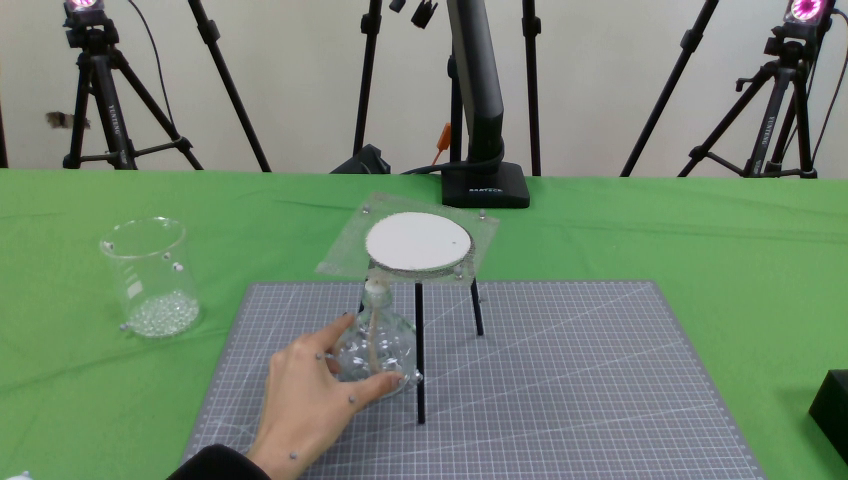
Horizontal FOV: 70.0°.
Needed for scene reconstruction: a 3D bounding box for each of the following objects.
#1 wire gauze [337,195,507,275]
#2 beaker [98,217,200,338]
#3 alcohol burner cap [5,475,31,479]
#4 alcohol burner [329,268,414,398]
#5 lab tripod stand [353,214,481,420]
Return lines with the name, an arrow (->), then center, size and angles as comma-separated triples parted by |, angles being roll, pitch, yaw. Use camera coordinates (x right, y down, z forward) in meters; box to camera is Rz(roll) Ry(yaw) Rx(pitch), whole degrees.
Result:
wire gauze -> -0.002, -0.010, 0.477 | 0.125, 0.011, 0.120 | 5, 27, -7
beaker -> -0.261, 0.037, 0.589 | 0.074, 0.101, 0.083 | 7, 33, 8
alcohol burner cap -> -0.278, 0.182, 0.413 | 0.034, 0.048, 0.033 | 2, 32, -1
alcohol burner -> -0.041, 0.075, 0.515 | 0.078, 0.120, 0.077 | 3, 29, -2
lab tripod stand -> -0.004, 0.057, 0.527 | 0.148, 0.132, 0.147 | 2, 34, -1
